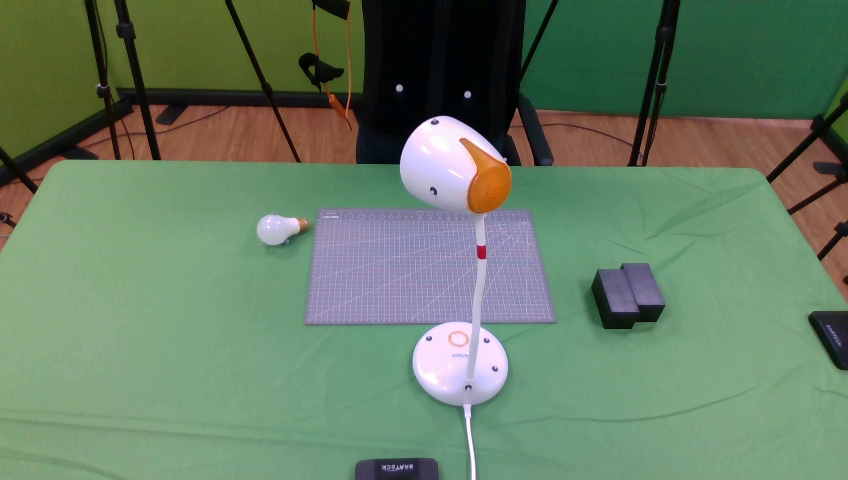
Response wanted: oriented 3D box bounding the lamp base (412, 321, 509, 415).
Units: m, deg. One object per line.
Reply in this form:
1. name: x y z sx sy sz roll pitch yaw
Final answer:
1. lamp base: 0.067 0.158 0.943 0.161 0.181 0.178 -6 50 -10

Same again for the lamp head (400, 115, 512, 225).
1. lamp head: 0.047 -0.077 0.729 0.112 0.113 0.122 -25 43 -25

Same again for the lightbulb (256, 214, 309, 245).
1. lightbulb: -0.275 -0.025 1.184 0.108 0.060 0.059 -14 46 -38
